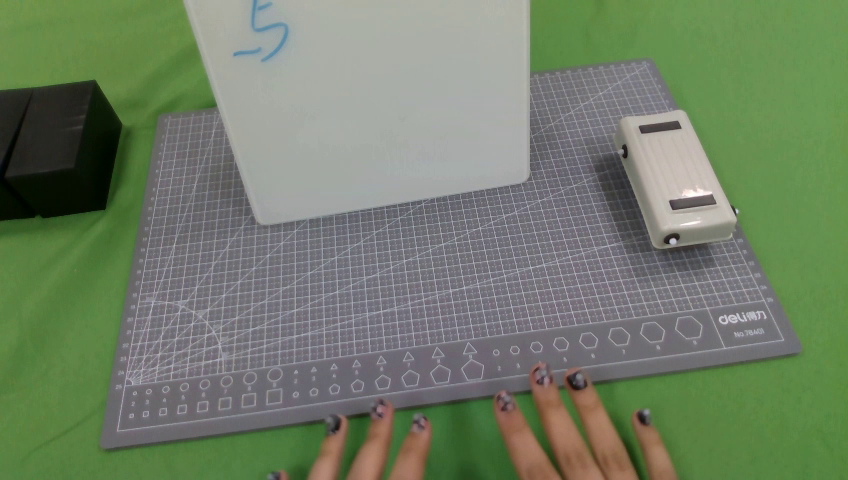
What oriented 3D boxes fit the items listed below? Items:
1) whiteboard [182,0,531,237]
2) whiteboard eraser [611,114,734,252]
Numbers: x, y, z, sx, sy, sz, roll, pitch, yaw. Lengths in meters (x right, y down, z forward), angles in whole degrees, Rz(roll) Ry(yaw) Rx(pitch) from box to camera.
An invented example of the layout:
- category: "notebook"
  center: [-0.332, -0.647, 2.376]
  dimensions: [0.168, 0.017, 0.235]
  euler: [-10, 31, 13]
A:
- category: "whiteboard"
  center: [-0.046, -0.182, 0.437]
  dimensions: [0.217, 0.308, 0.142]
  euler: [-9, 35, -3]
- category: "whiteboard eraser"
  center: [0.182, -0.042, 0.451]
  dimensions: [0.055, 0.042, 0.111]
  euler: [-6, 55, -1]
